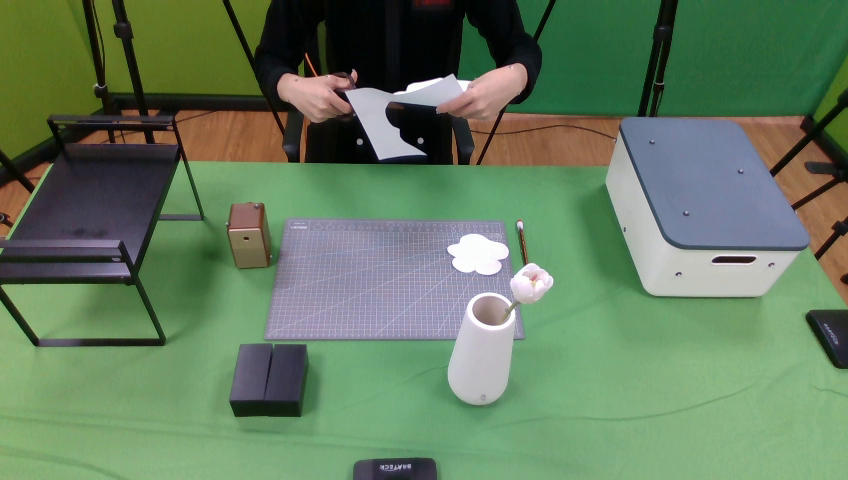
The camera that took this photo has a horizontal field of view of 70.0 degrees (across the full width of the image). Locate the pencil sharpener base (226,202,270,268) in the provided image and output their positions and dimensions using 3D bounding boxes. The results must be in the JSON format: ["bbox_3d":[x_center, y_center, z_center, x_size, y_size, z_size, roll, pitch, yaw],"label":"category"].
[{"bbox_3d":[-0.323,-0.010,1.123,0.061,0.107,0.076,-3,46,-7],"label":"pencil sharpener base"}]

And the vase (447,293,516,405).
[{"bbox_3d":[0.091,0.169,0.921,0.098,0.201,0.097,3,47,-3],"label":"vase"}]

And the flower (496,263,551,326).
[{"bbox_3d":[0.102,0.120,0.853,0.044,0.363,0.038,-2,64,-10],"label":"flower"}]

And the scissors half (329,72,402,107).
[{"bbox_3d":[-0.106,-0.262,1.072,0.174,0.040,0.013,28,35,28],"label":"scissors half"}]

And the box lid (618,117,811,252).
[{"bbox_3d":[0.534,-0.117,1.149,0.263,0.015,0.369,0,47,-3],"label":"box lid"}]

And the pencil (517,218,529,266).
[{"bbox_3d":[0.200,0.027,1.196,0.012,0.012,0.193,1,48,-3],"label":"pencil"}]

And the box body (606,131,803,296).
[{"bbox_3d":[0.530,-0.067,1.204,0.254,0.161,0.361,1,46,-4],"label":"box body"}]

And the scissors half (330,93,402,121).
[{"bbox_3d":[-0.105,-0.241,1.079,0.174,0.040,0.013,-3,12,40],"label":"scissors half"}]

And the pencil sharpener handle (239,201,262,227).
[{"bbox_3d":[-0.325,-0.055,1.150,0.036,0.068,0.030,-13,46,4],"label":"pencil sharpener handle"}]
